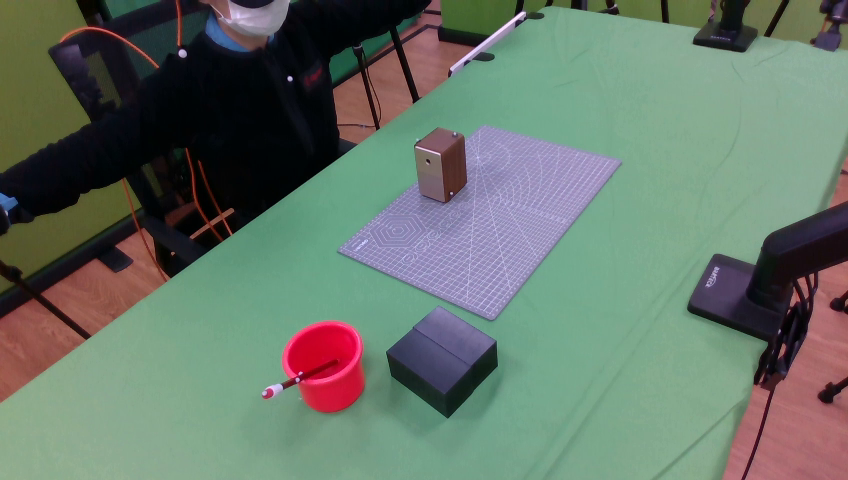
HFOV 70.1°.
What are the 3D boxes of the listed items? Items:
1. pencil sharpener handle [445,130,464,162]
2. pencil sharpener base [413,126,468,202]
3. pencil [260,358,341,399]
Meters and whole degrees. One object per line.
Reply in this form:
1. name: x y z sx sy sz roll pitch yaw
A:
1. pencil sharpener handle: 0.059 -0.171 1.070 0.036 0.068 0.031 26 50 25
2. pencil sharpener base: 0.032 -0.132 1.047 0.061 0.107 0.077 21 48 30
3. pencil: -0.137 0.157 0.706 0.012 0.012 0.195 6 2 16
